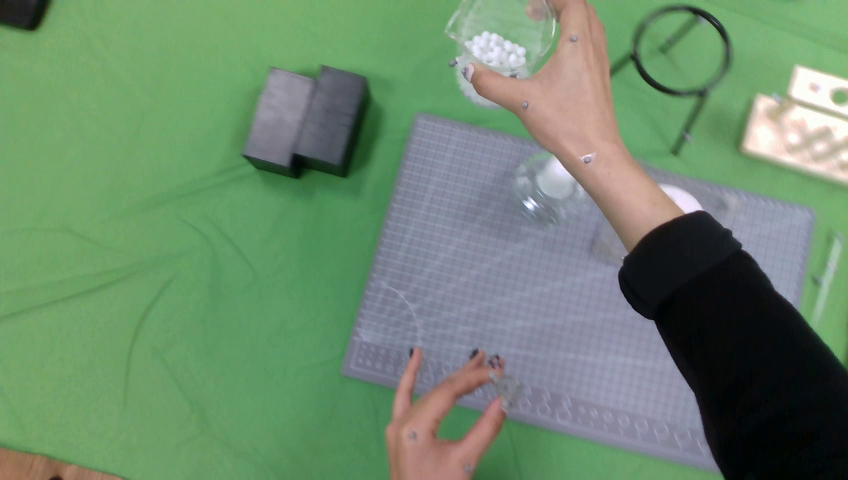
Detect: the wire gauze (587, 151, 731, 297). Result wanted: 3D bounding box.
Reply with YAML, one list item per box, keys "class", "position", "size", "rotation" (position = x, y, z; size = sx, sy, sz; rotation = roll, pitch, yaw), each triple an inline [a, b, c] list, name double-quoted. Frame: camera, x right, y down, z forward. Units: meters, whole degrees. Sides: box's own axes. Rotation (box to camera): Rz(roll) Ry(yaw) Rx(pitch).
- class: "wire gauze"
  position: [0.252, -0.020, 0.652]
  size: [0.125, 0.011, 0.121]
  rotation: [25, 84, 3]

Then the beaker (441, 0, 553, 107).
- class: "beaker"
  position: [0.054, -0.155, 0.494]
  size: [0.084, 0.100, 0.074]
  rotation: [-6, 84, -1]

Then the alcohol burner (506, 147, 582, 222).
- class: "alcohol burner"
  position: [0.122, -0.060, 0.605]
  size: [0.078, 0.119, 0.077]
  rotation: [0, 81, 3]

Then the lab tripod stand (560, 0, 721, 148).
- class: "lab tripod stand"
  position: [0.223, -0.168, 0.613]
  size: [0.148, 0.132, 0.148]
  rotation: [0, 83, 2]

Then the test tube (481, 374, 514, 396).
- class: "test tube"
  position: [0.058, 0.118, 0.497]
  size: [0.017, 0.151, 0.017]
  rotation: [0, 77, 2]

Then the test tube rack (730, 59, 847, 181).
- class: "test tube rack"
  position: [0.462, -0.105, 0.626]
  size: [0.242, 0.085, 0.066]
  rotation: [18, 82, 3]

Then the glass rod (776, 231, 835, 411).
- class: "glass rod"
  position: [0.402, 0.084, 0.637]
  size: [0.008, 0.008, 0.199]
  rotation: [20, 85, 3]

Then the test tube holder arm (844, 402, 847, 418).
- class: "test tube holder arm"
  position: [0.458, 0.098, 0.628]
  size: [0.013, 0.015, 0.178]
  rotation: [9, 79, 39]

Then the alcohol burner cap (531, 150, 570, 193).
- class: "alcohol burner cap"
  position: [0.121, -0.067, 0.570]
  size: [0.034, 0.048, 0.033]
  rotation: [0, 76, -1]
